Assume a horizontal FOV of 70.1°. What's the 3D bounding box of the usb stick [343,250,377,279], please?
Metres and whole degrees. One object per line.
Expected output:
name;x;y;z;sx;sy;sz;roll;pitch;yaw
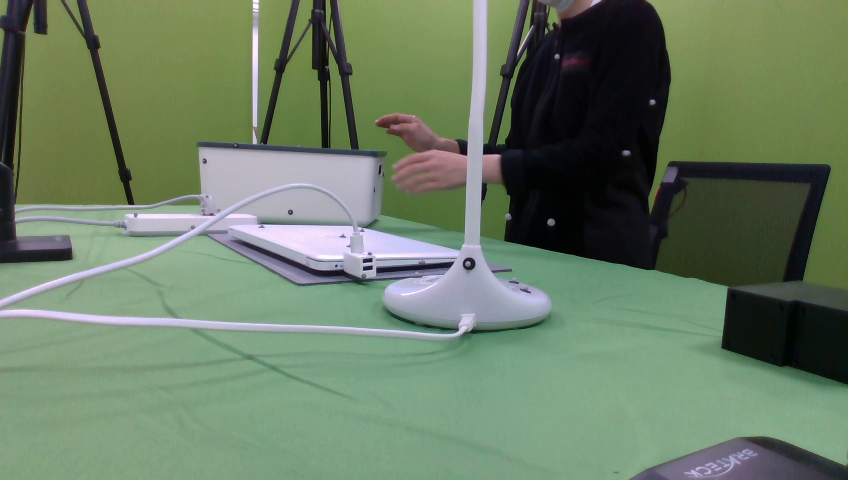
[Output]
usb stick;-0.076;0.026;0.687;0.021;0.027;0.059;-8;8;-31

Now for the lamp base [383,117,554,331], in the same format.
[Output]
lamp base;0.045;-0.019;0.547;0.161;0.180;0.179;2;10;-4

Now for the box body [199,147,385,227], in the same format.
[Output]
box body;-0.277;-0.124;1.335;0.364;0.160;0.254;3;7;1

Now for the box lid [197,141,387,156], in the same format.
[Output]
box lid;-0.275;-0.198;1.325;0.372;0.015;0.263;3;8;1

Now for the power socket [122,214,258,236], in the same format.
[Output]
power socket;-0.398;-0.028;1.049;0.228;0.032;0.072;-3;8;-34

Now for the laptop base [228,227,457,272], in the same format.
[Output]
laptop base;-0.122;0.011;0.889;0.237;0.023;0.352;2;6;-35

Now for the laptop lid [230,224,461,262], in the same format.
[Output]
laptop lid;-0.120;0.000;0.888;0.243;0.013;0.355;1;7;-33

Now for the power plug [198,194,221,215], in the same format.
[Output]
power plug;-0.387;-0.055;1.089;0.035;0.052;0.072;-1;7;-22
